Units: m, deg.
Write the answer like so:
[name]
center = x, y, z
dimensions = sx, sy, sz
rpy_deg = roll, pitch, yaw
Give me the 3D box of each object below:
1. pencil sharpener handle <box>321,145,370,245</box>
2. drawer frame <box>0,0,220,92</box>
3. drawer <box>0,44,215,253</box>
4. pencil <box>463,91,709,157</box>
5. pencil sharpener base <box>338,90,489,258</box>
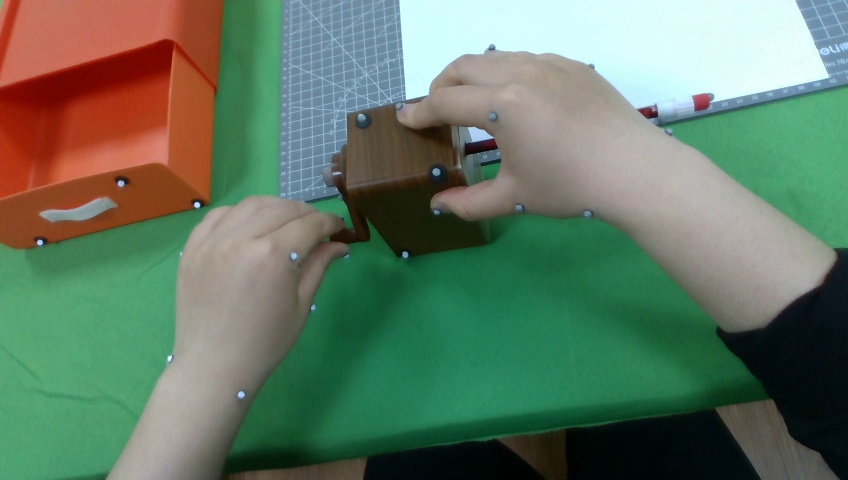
[pencil sharpener handle]
center = -0.057, -0.027, 0.395
dimensions = 0.030, 0.068, 0.035
rpy_deg = -10, 30, 12
[drawer frame]
center = -0.300, -0.215, 0.579
dimensions = 0.201, 0.083, 0.211
rpy_deg = -12, 63, 11
[drawer]
center = -0.286, -0.109, 0.531
dimensions = 0.194, 0.074, 0.210
rpy_deg = -13, 63, 11
[pencil]
center = 0.067, -0.062, 0.360
dimensions = 0.194, 0.012, 0.012
rpy_deg = -11, 64, 10
[pencil sharpener base]
center = -0.004, -0.038, 0.402
dimensions = 0.076, 0.108, 0.061
rpy_deg = -11, 64, 12
